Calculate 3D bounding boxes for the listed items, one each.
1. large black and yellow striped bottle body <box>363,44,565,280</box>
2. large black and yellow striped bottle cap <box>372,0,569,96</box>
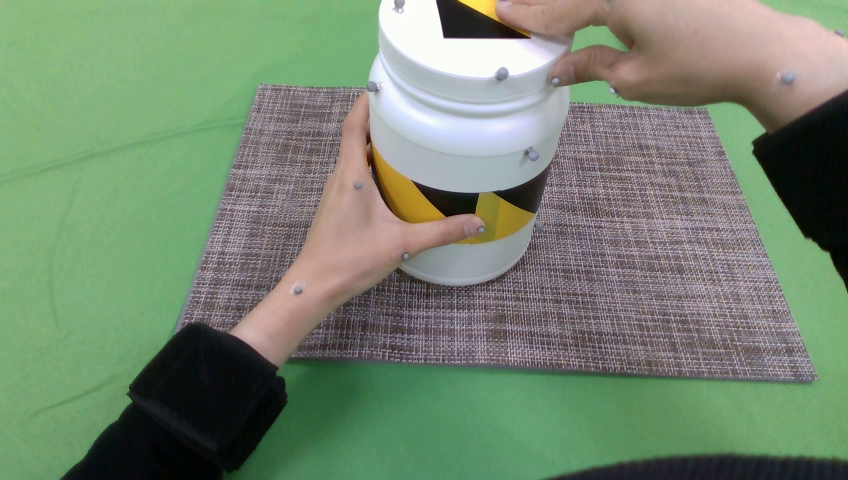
[{"bbox_3d":[0.023,-0.073,0.425,0.131,0.185,0.129,2,51,-2],"label":"large black and yellow striped bottle body"},{"bbox_3d":[0.027,-0.128,0.356,0.115,0.019,0.114,2,54,-3],"label":"large black and yellow striped bottle cap"}]
